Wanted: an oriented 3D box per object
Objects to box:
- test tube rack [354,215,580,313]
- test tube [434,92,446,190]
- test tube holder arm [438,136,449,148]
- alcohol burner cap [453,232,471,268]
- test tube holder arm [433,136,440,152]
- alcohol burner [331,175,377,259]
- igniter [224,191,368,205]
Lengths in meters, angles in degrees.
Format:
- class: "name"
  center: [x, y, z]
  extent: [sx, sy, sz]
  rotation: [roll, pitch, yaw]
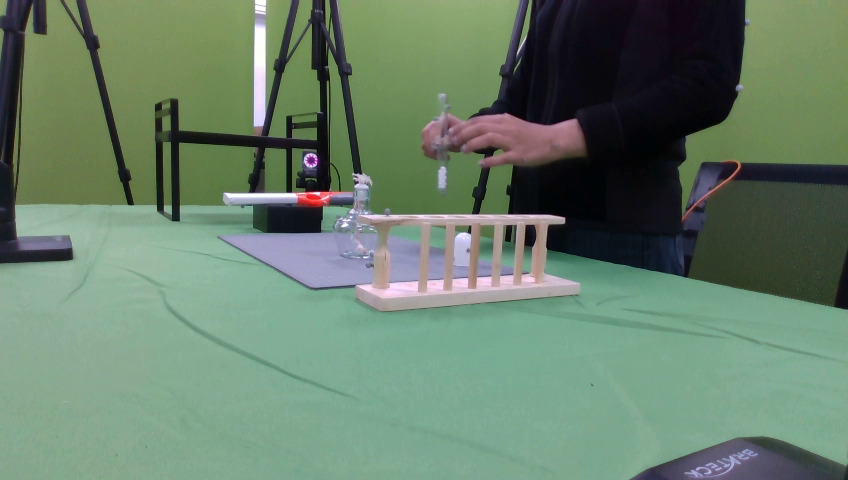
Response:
- class: "test tube rack"
  center: [0.053, 0.019, 0.635]
  extent: [0.243, 0.085, 0.066]
  rotation: [-1, 8, -29]
- class: "test tube"
  center: [0.025, -0.152, 0.936]
  extent: [0.017, 0.150, 0.017]
  rotation: [-1, 4, 0]
- class: "test tube holder arm"
  center: [0.029, -0.154, 0.959]
  extent: [0.010, 0.015, 0.087]
  rotation: [5, 4, -6]
- class: "alcohol burner cap"
  center: [0.053, 0.013, 0.823]
  extent: [0.034, 0.048, 0.034]
  rotation: [2, 6, 0]
- class: "test tube holder arm"
  center: [0.022, -0.158, 1.003]
  extent: [0.013, 0.015, 0.178]
  rotation: [6, 4, 0]
- class: "alcohol burner"
  center: [-0.091, -0.033, 0.855]
  extent: [0.078, 0.119, 0.078]
  rotation: [4, 7, 0]
- class: "igniter"
  center: [-0.237, -0.079, 1.157]
  extent: [0.278, 0.025, 0.057]
  rotation: [-2, 21, -31]
